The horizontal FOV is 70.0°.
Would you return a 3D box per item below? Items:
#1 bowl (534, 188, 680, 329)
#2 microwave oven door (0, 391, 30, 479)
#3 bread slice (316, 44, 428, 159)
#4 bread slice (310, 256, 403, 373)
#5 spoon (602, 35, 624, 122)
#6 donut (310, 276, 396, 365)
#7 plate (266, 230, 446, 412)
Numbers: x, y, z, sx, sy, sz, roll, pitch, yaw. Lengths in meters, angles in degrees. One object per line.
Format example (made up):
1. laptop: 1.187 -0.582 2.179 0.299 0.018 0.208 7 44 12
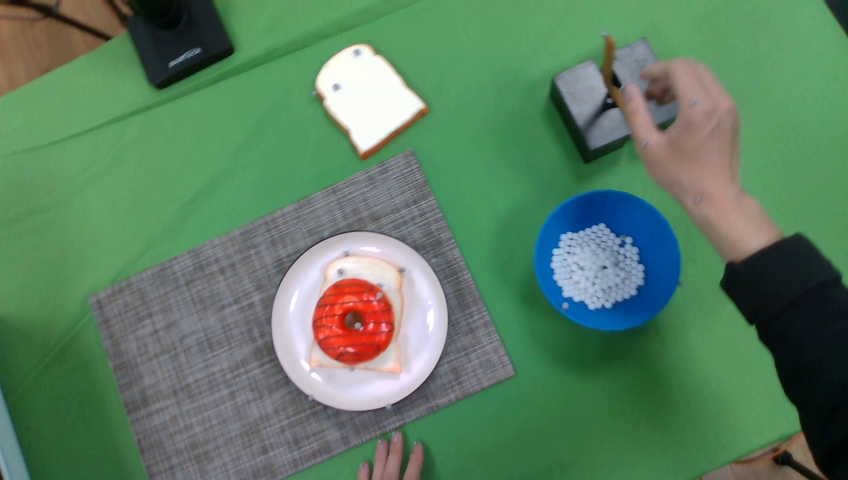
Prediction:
1. bowl: 0.195 0.025 0.670 0.151 0.077 0.151 -1 81 6
2. microwave oven door: -0.480 0.300 0.597 0.039 0.245 0.354 -27 79 1
3. bread slice: -0.075 -0.182 0.763 0.105 0.019 0.131 -38 80 -2
4. bread slice: -0.077 0.085 0.707 0.107 0.018 0.134 0 82 6
5. spoon: 0.198 -0.167 0.641 0.021 0.195 0.041 -24 76 16
6. donut: -0.079 0.090 0.677 0.099 0.048 0.098 -1 81 7
7. plate: -0.077 0.093 0.705 0.207 0.039 0.207 -1 81 6
